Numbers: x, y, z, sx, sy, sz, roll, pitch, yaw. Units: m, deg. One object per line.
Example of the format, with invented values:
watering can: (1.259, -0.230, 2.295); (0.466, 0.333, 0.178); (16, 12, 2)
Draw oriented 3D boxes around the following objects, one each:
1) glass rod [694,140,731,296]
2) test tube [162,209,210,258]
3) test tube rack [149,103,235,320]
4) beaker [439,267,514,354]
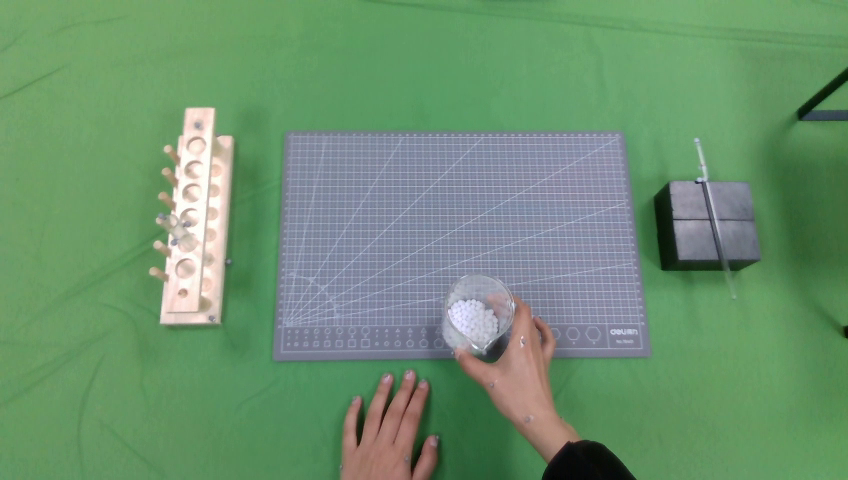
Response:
glass rod: (0.346, -0.030, 0.729); (0.008, 0.008, 0.198); (-3, 74, -3)
test tube: (-0.254, -0.004, 0.654); (0.017, 0.150, 0.017); (2, 75, -7)
test tube rack: (-0.276, -0.032, 0.713); (0.067, 0.085, 0.241); (0, 74, -2)
beaker: (0.054, 0.085, 0.669); (0.074, 0.101, 0.083); (0, 68, -3)
